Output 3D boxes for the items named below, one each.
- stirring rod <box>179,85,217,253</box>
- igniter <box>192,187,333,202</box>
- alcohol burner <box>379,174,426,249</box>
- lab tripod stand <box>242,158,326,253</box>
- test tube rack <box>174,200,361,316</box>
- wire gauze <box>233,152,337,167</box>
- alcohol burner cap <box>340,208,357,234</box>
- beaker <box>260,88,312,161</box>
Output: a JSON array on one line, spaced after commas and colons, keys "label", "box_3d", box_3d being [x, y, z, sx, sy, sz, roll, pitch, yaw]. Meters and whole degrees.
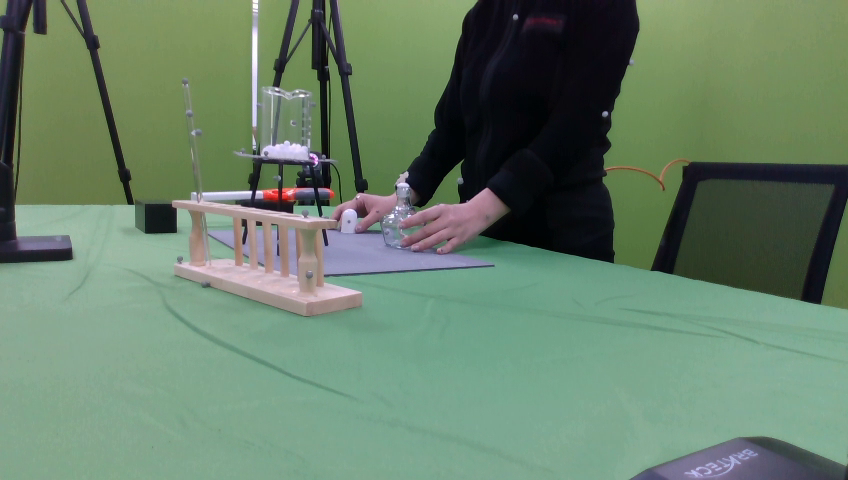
[{"label": "stirring rod", "box_3d": [-0.237, -0.073, 0.634, 0.006, 0.176, 0.014, 0, 10, 42]}, {"label": "igniter", "box_3d": [-0.316, -0.090, 1.214, 0.278, 0.025, 0.057, -5, 12, -31]}, {"label": "alcohol burner", "box_3d": [-0.034, -0.046, 0.974, 0.078, 0.119, 0.078, 1, 6, 0]}, {"label": "lab tripod stand", "box_3d": [-0.207, -0.054, 0.895, 0.148, 0.131, 0.148, 3, 5, 0]}, {"label": "test tube rack", "box_3d": [-0.169, 0.009, 0.622, 0.241, 0.085, 0.067, 9, 9, 41]}, {"label": "wire gauze", "box_3d": [-0.205, -0.119, 0.887, 0.122, 0.011, 0.124, 2, 4, -32]}, {"label": "alcohol burner cap", "box_3d": [-0.142, -0.036, 1.136, 0.034, 0.048, 0.034, 3, 8, 0]}, {"label": "beaker", "box_3d": [-0.201, -0.166, 0.876, 0.074, 0.100, 0.083, 1, 7, -18]}]
